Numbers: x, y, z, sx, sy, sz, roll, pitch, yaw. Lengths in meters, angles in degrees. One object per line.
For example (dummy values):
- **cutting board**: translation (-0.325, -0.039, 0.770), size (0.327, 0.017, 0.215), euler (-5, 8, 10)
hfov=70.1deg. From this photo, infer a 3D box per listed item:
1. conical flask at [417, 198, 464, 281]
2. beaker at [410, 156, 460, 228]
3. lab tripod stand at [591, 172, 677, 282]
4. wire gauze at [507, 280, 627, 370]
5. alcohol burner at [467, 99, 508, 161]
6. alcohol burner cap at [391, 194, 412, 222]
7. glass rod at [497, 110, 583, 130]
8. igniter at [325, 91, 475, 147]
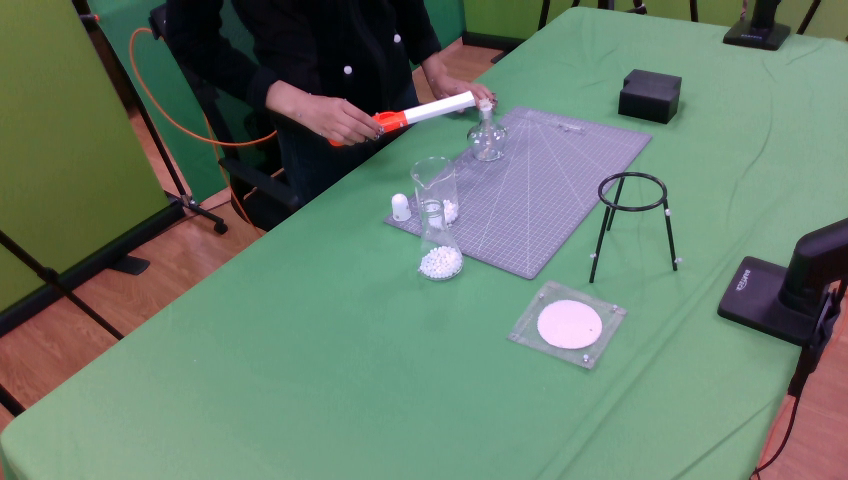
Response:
- **conical flask**: translation (0.019, -0.004, 0.907), size (0.075, 0.122, 0.075), euler (-5, 40, 5)
- **beaker**: translation (0.020, -0.076, 1.006), size (0.074, 0.101, 0.084), euler (3, 42, 15)
- **lab tripod stand**: translation (0.292, -0.022, 0.867), size (0.148, 0.132, 0.147), euler (-7, 39, 6)
- **wire gauze**: translation (0.196, 0.114, 0.823), size (0.120, 0.011, 0.125), euler (20, 50, 31)
- **alcohol burner**: translation (0.119, -0.210, 1.134), size (0.078, 0.119, 0.077), euler (-4, 39, 4)
- **alcohol burner cap**: translation (-0.041, -0.057, 1.040), size (0.034, 0.048, 0.033), euler (-6, 41, 5)
- **glass rod**: translation (0.233, -0.245, 1.235), size (0.198, 0.008, 0.008), euler (21, 49, 35)
- **igniter**: translation (-0.044, -0.218, 1.092), size (0.277, 0.025, 0.057), euler (-16, 45, -1)
